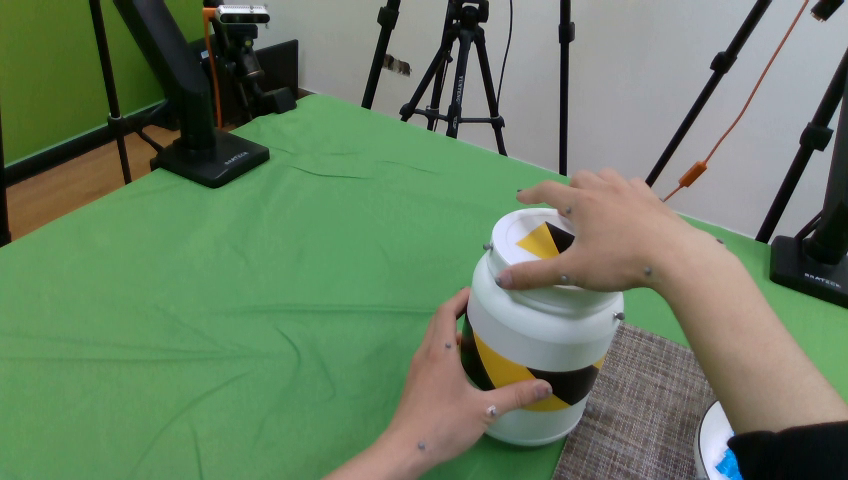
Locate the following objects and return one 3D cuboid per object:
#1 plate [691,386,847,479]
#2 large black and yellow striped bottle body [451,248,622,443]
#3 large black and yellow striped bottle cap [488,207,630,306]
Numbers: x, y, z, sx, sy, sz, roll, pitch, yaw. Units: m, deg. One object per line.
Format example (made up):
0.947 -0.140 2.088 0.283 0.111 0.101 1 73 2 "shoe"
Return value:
0.333 0.219 0.524 0.208 0.039 0.205 6 36 -4 "plate"
0.100 0.078 0.548 0.131 0.185 0.129 5 36 -4 "large black and yellow striped bottle body"
0.110 0.010 0.498 0.115 0.019 0.114 5 35 -3 "large black and yellow striped bottle cap"
